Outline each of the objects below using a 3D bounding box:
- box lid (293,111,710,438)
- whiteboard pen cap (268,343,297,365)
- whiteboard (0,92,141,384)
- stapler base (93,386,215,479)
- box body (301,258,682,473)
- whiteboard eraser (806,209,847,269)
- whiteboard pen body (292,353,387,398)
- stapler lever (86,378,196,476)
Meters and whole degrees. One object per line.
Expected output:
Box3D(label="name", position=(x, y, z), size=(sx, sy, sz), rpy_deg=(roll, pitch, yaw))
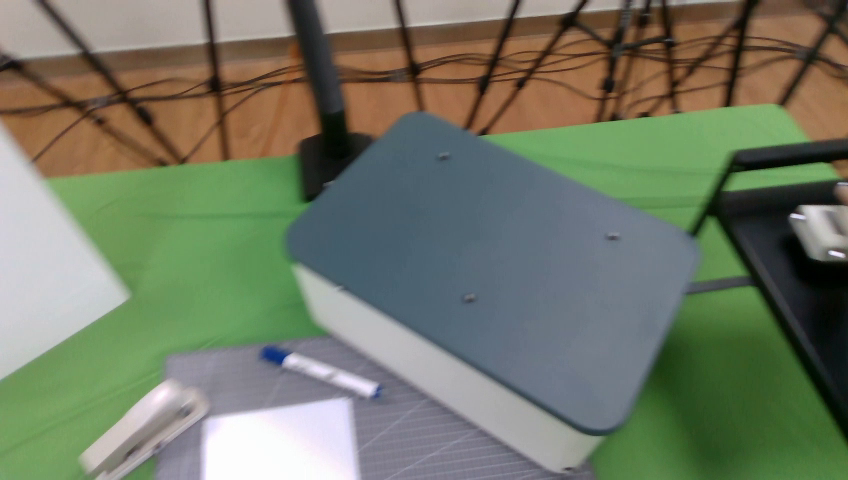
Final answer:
Box3D(label="box lid", position=(0.078, 0.004, 0.620), size=(0.369, 0.015, 0.262), rpy_deg=(30, 57, 18))
Box3D(label="whiteboard pen cap", position=(-0.162, 0.132, 0.697), size=(0.033, 0.018, 0.018), rpy_deg=(18, 54, 14))
Box3D(label="whiteboard", position=(-0.504, -0.014, 0.659), size=(0.217, 0.308, 0.142), rpy_deg=(-36, 42, -25))
Box3D(label="stapler base", position=(-0.287, 0.202, 0.638), size=(0.130, 0.024, 0.041), rpy_deg=(-37, 58, -22))
Box3D(label="box body", position=(0.078, 0.051, 0.678), size=(0.362, 0.162, 0.253), rpy_deg=(29, 57, 19))
Box3D(label="whiteboard eraser", position=(0.431, 0.000, 0.578), size=(0.113, 0.042, 0.055), rpy_deg=(2, 54, -1))
Box3D(label="whiteboard pen body", position=(-0.107, 0.148, 0.683), size=(0.140, 0.017, 0.017), rpy_deg=(17, 54, 14))
Box3D(label="stapler lever", position=(-0.289, 0.188, 0.617), size=(0.118, 0.040, 0.026), rpy_deg=(-37, 58, -22))
